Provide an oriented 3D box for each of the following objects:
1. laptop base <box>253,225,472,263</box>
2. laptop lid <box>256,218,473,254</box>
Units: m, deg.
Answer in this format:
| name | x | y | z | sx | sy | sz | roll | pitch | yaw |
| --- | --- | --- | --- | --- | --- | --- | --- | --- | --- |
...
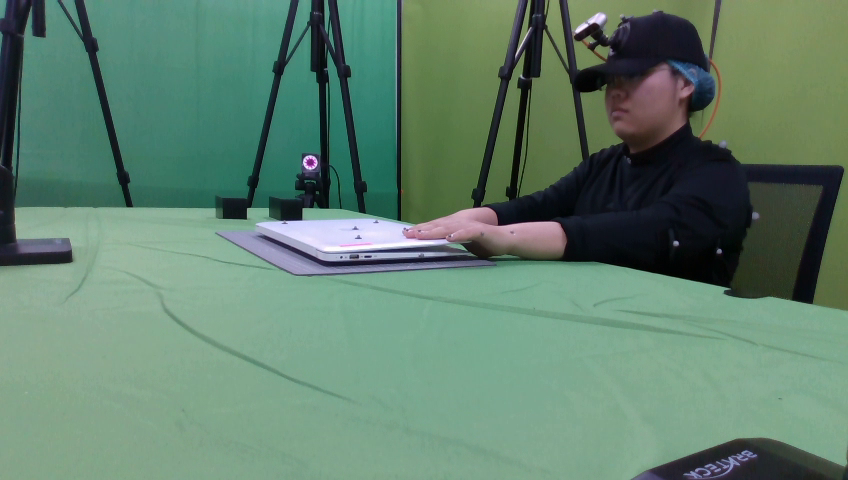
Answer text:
| name | x | y | z | sx | sy | sz | roll | pitch | yaw |
| --- | --- | --- | --- | --- | --- | --- | --- | --- | --- |
| laptop base | -0.115 | 0.005 | 0.973 | 0.237 | 0.023 | 0.352 | 2 | 6 | -31 |
| laptop lid | -0.112 | -0.013 | 0.971 | 0.243 | 0.013 | 0.355 | -3 | 9 | -29 |
